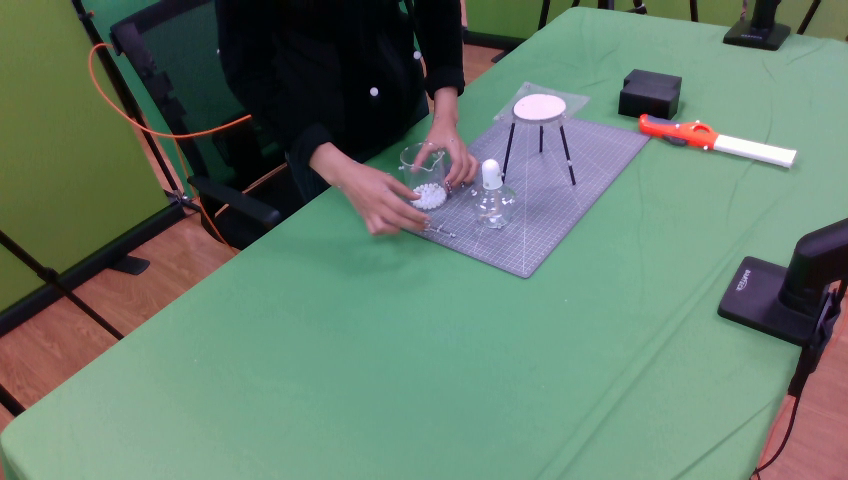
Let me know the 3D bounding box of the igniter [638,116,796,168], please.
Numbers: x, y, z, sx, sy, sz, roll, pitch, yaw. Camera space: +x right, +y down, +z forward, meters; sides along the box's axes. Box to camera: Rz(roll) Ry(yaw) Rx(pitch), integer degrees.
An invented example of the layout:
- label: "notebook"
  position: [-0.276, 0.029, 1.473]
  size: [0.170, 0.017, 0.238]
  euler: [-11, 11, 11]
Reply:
- label: "igniter"
  position: [0.517, -0.181, 1.093]
  size: [0.274, 0.025, 0.057]
  euler: [23, 65, 32]

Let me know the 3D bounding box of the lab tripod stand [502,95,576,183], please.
- label: "lab tripod stand"
  position: [0.204, -0.174, 1.057]
  size: [0.148, 0.132, 0.147]
  euler: [-4, 40, 4]

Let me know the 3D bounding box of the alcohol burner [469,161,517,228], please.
- label: "alcohol burner"
  position: [0.112, -0.079, 0.978]
  size: [0.078, 0.119, 0.077]
  euler: [-4, 41, 4]

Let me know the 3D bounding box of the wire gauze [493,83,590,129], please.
- label: "wire gauze"
  position: [0.198, -0.224, 1.012]
  size: [0.120, 0.011, 0.125]
  euler: [20, 48, 28]

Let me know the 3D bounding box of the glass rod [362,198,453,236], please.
- label: "glass rod"
  position: [-0.031, -0.041, 1.040]
  size: [0.198, 0.008, 0.008]
  euler: [22, 50, 31]

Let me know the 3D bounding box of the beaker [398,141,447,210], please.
- label: "beaker"
  position: [0.002, -0.107, 1.042]
  size: [0.074, 0.101, 0.083]
  euler: [-19, 42, -11]

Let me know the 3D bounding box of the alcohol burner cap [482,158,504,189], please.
- label: "alcohol burner cap"
  position: [0.107, -0.106, 0.954]
  size: [0.034, 0.048, 0.033]
  euler: [-9, 38, 8]
